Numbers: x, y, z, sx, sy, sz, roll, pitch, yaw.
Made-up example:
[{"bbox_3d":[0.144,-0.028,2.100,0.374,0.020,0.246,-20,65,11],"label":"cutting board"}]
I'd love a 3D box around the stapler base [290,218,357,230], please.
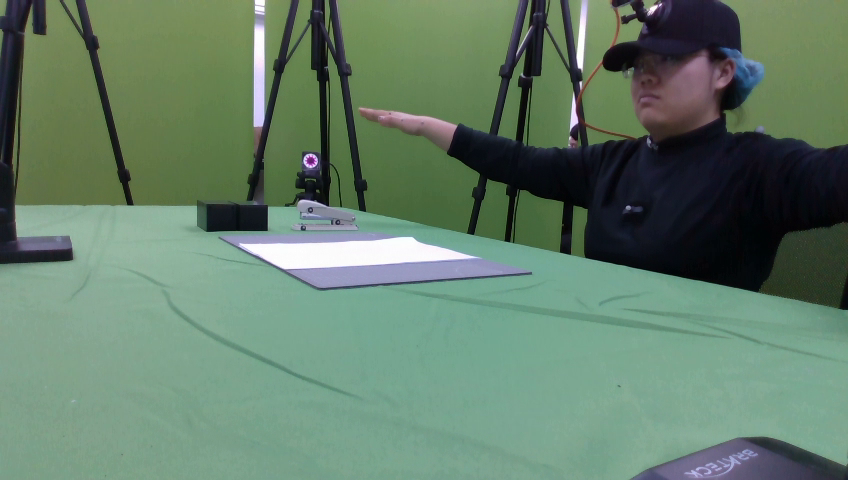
[{"bbox_3d":[-0.199,-0.033,1.201,0.131,0.024,0.041,2,10,-25],"label":"stapler base"}]

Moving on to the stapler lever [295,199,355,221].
[{"bbox_3d":[-0.196,-0.058,1.199,0.118,0.040,0.026,2,10,-25],"label":"stapler lever"}]
